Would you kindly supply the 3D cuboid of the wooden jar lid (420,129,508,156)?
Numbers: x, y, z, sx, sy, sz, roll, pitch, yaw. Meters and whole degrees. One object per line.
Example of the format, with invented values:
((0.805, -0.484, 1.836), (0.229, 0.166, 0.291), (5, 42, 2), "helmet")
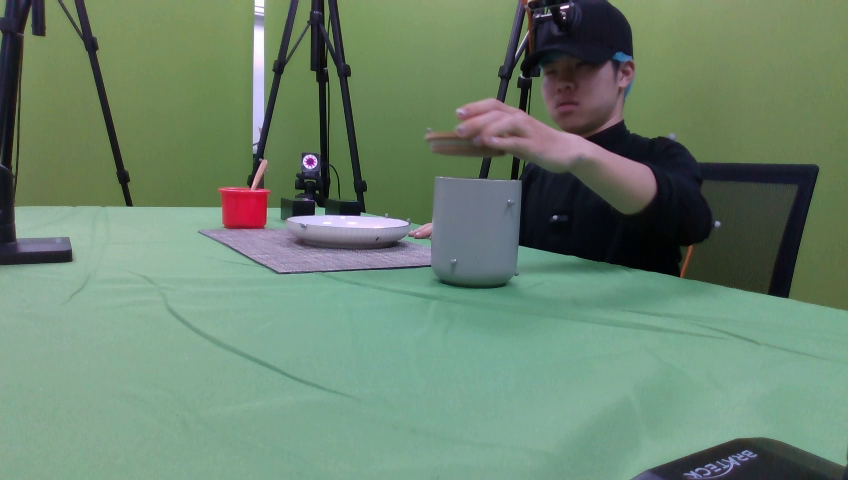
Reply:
((0.049, -0.118, 0.738), (0.108, 0.020, 0.108), (2, 1, 0), "wooden jar lid")

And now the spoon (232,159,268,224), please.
((-0.343, -0.101, 1.218), (0.041, 0.021, 0.193), (3, 51, 4), "spoon")

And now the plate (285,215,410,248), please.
((-0.127, -0.015, 1.012), (0.208, 0.039, 0.207), (3, 7, 0), "plate")

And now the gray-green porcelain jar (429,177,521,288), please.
((0.060, -0.011, 0.725), (0.106, 0.126, 0.106), (2, 7, 0), "gray-green porcelain jar")
